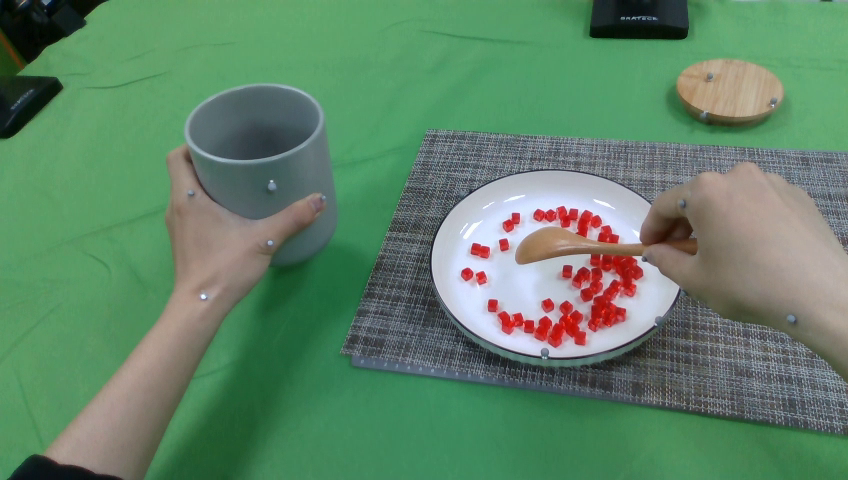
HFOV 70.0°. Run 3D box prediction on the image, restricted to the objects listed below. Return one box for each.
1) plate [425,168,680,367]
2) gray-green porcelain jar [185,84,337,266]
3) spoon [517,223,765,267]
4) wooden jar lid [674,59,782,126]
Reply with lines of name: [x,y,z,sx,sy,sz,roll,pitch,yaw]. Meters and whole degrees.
plate: [0.106,0.022,0.519,0.207,0.039,0.205,-4,48,5]
gray-green porcelain jar: [-0.131,-0.049,0.513,0.106,0.127,0.105,0,46,0]
spoon: [0.143,0.005,0.438,0.192,0.022,0.041,2,56,45]
wooden jar lid: [0.330,-0.160,0.663,0.108,0.021,0.107,-4,49,5]
